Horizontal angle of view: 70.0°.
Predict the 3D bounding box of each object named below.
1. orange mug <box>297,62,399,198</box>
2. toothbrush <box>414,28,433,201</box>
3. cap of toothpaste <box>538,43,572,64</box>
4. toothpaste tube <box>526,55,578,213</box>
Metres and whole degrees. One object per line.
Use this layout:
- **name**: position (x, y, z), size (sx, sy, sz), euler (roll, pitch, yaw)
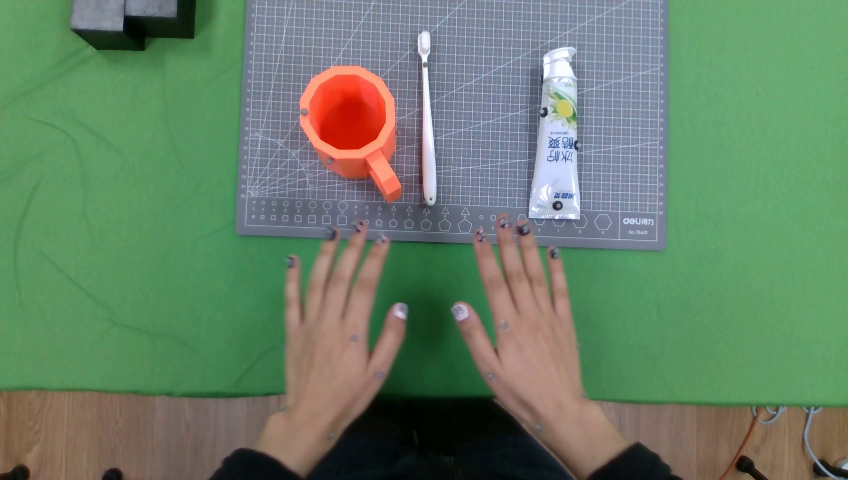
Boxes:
- **orange mug**: position (-0.063, -0.099, 0.585), size (0.083, 0.101, 0.126), euler (-32, 84, -4)
- **toothbrush**: position (0.000, -0.131, 0.630), size (0.014, 0.016, 0.181), euler (-2, 88, -18)
- **cap of toothpaste**: position (0.137, -0.193, 0.630), size (0.037, 0.037, 0.011), euler (-11, 84, -4)
- **toothpaste tube**: position (0.134, -0.111, 0.632), size (0.055, 0.034, 0.165), euler (0, 91, 4)
